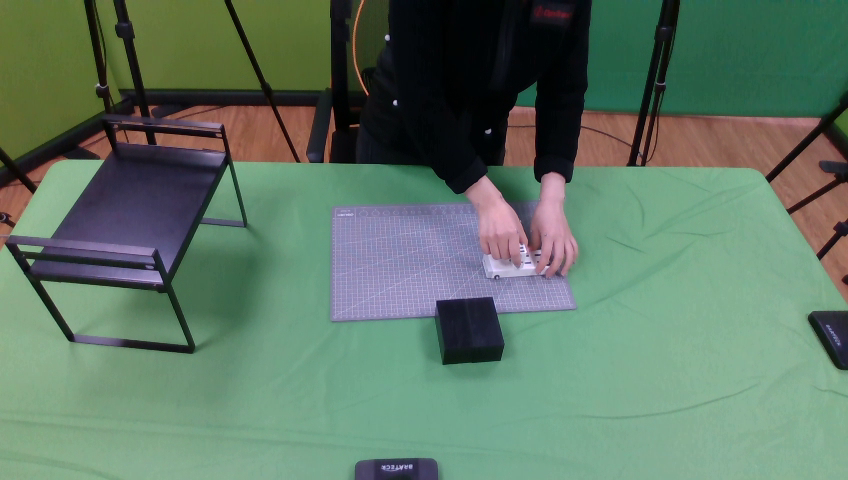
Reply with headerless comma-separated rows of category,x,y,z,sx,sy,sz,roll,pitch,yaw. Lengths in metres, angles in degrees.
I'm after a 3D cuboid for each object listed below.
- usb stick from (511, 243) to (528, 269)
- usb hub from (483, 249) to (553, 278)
usb stick,0.176,0.035,1.125,0.021,0.059,0.027,-5,49,-6
usb hub,0.179,0.045,1.159,0.125,0.025,0.049,-4,46,-6
